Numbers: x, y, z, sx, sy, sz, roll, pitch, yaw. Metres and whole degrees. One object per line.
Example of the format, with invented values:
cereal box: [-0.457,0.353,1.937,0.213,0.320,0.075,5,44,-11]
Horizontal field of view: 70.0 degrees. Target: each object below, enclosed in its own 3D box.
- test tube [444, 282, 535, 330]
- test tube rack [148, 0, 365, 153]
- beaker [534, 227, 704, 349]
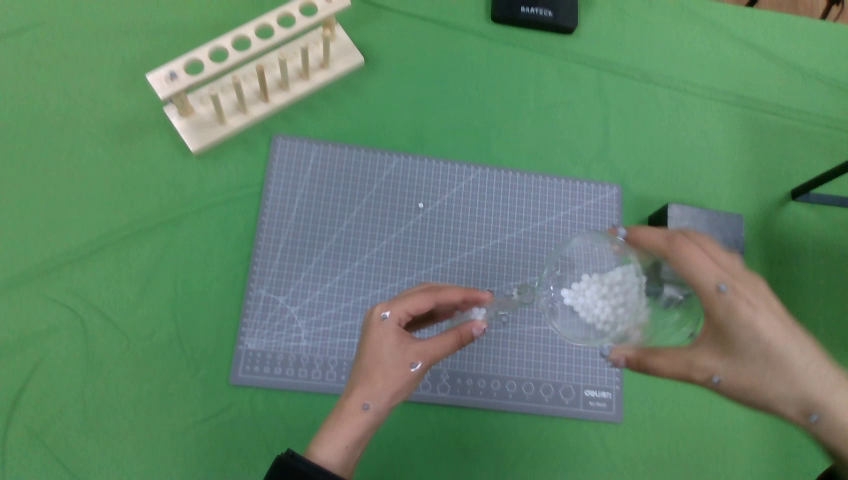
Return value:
test tube: [0.048,0.056,0.491,0.017,0.150,0.017,5,73,-18]
test tube rack: [-0.187,-0.204,0.718,0.242,0.085,0.066,-33,81,-16]
beaker: [0.136,0.037,0.416,0.101,0.083,0.073,13,75,-40]
